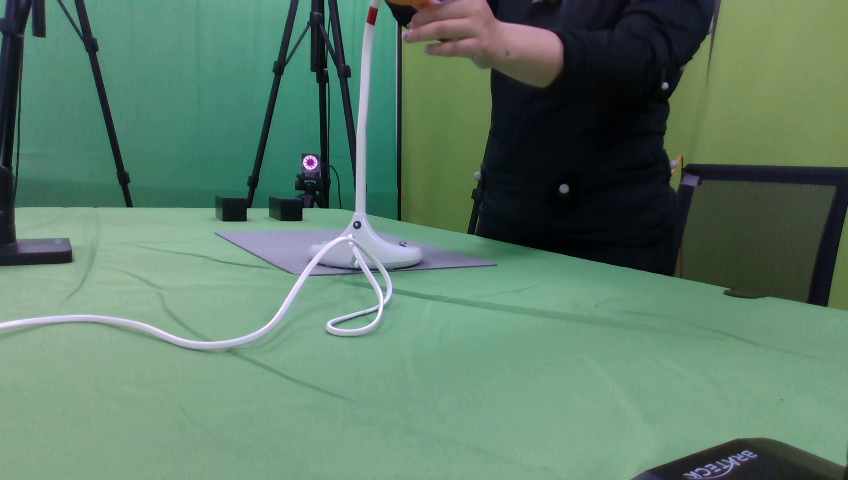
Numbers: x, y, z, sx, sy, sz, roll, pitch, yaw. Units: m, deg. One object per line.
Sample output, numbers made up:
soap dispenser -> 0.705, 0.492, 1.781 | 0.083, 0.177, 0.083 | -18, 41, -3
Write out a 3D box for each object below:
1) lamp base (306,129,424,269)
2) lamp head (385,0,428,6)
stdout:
lamp base -> -0.077, -0.057, 0.811 | 0.161, 0.180, 0.179 | 2, 10, -4
lamp head -> -0.022, -0.325, 0.670 | 0.112, 0.123, 0.112 | 4, 3, 0
